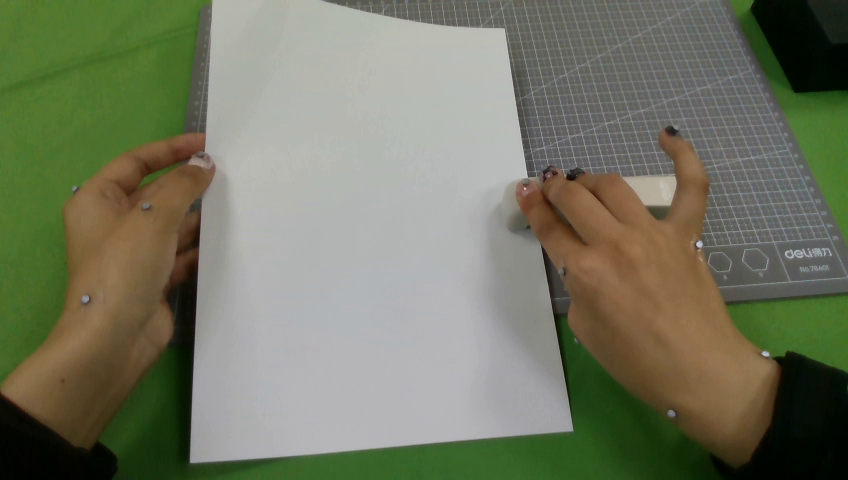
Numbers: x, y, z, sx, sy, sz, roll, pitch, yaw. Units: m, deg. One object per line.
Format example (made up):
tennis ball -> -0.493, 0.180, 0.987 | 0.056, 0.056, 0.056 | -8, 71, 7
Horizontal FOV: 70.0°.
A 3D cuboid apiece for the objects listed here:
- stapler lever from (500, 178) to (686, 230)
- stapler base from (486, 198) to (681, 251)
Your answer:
stapler lever -> 0.108, -0.025, 0.391 | 0.118, 0.040, 0.026 | -7, 63, 6
stapler base -> 0.108, -0.017, 0.403 | 0.131, 0.024, 0.041 | -2, 64, -4
